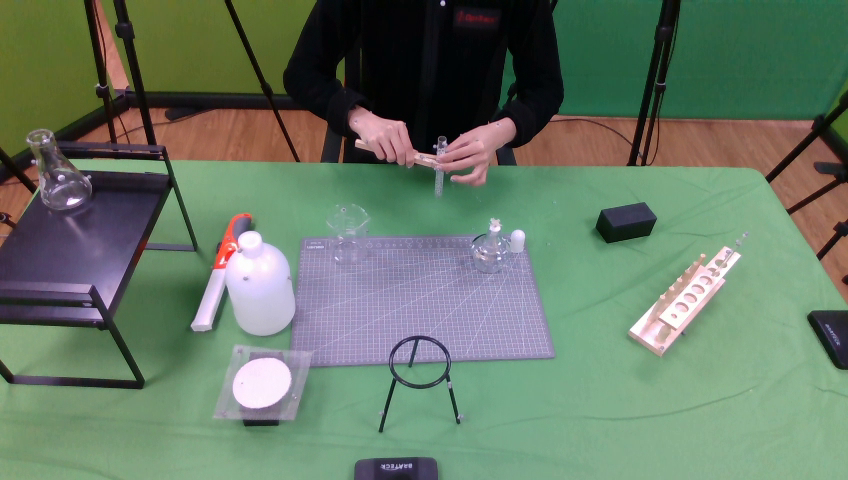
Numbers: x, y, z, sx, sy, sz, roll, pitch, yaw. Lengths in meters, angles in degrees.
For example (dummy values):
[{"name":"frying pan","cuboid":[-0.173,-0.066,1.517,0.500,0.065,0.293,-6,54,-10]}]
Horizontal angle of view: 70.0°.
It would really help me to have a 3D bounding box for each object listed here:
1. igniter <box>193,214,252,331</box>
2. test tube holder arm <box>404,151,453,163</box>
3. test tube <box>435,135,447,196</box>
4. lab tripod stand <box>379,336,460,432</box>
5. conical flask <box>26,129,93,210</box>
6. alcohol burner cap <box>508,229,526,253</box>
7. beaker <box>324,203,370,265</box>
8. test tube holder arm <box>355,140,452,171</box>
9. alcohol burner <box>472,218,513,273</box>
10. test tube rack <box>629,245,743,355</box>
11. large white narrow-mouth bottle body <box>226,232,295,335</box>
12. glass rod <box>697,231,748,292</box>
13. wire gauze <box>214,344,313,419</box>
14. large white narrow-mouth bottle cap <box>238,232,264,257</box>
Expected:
[{"name":"igniter","cuboid":[-0.368,0.050,1.119,0.057,0.025,0.275,-3,46,8]},{"name":"test tube holder arm","cuboid":[0.008,-0.149,1.092,0.088,0.015,0.010,3,52,-7]},{"name":"test tube","cuboid":[0.030,-0.132,1.101,0.017,0.151,0.017,1,54,-1]},{"name":"lab tripod stand","cuboid":[-0.011,0.214,0.911,0.148,0.132,0.147,1,45,0]},{"name":"conical flask","cuboid":[-0.575,-0.113,0.946,0.075,0.122,0.075,2,46,-2]},{"name":"alcohol burner cap","cuboid":[0.185,-0.002,1.192,0.034,0.048,0.033,3,44,-2]},{"name":"beaker","cuboid":[-0.142,-0.009,1.137,0.084,0.101,0.073,-3,47,-7]},{"name":"test tube holder arm","cuboid":[-0.037,-0.153,1.087,0.178,0.015,0.013,13,51,1]},{"name":"alcohol burner","cuboid":[0.128,0.005,1.132,0.078,0.120,0.077,0,47,0]},{"name":"test tube rack","cuboid":[0.474,0.095,1.091,0.242,0.085,0.066,-34,56,-31]},{"name":"large white narrow-mouth bottle body","cuboid":[-0.270,0.065,0.995,0.102,0.195,0.101,2,46,-2]},{"name":"glass rod","cuboid":[0.514,0.044,1.051,0.008,0.200,0.008,1,55,-1]},{"name":"wire gauze","cuboid":[-0.241,0.213,0.915,0.121,0.011,0.124,5,46,1]},{"name":"large white narrow-mouth bottle cap","cuboid":[-0.266,0.007,0.933,0.038,0.024,0.037,2,46,-2]}]
